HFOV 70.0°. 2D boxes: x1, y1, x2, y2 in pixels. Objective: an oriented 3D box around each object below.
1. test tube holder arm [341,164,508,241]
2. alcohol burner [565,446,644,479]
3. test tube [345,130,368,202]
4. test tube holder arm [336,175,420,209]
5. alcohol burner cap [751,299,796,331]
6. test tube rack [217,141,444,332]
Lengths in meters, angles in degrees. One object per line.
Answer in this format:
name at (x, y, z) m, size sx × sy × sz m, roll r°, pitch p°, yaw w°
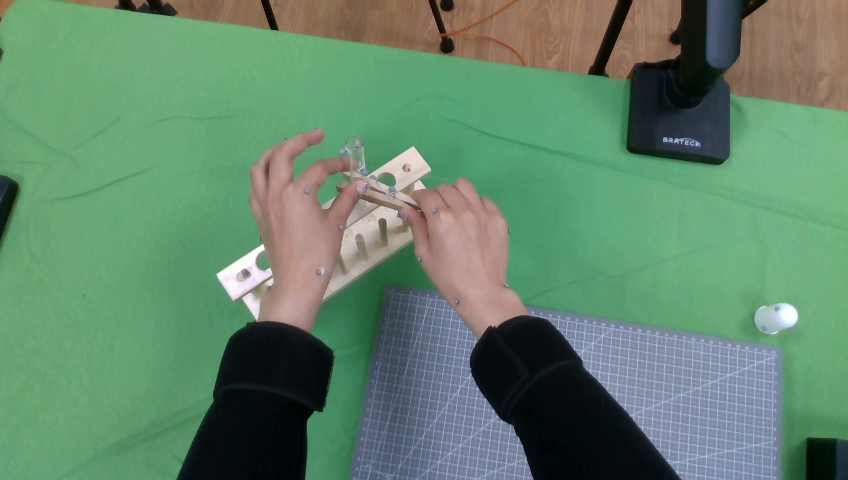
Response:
test tube holder arm at (-0.001, -0.038, 0.591) m, size 0.178 × 0.015 × 0.013 m, roll 22°, pitch 82°, yaw 12°
alcohol burner at (0.179, 0.239, 0.582) m, size 0.078 × 0.119 × 0.077 m, roll 1°, pitch 73°, yaw -2°
test tube at (-0.064, -0.064, 0.588) m, size 0.017 × 0.151 × 0.017 m, roll 1°, pitch 71°, yaw -3°
test tube holder arm at (-0.045, -0.048, 0.599) m, size 0.087 × 0.015 × 0.010 m, roll 16°, pitch 81°, yaw 11°
alcohol burner cap at (0.389, 0.082, 0.669) m, size 0.034 × 0.048 × 0.033 m, roll 0°, pitch 74°, yaw 0°
test tube rack at (-0.092, -0.001, 0.659) m, size 0.242 × 0.085 × 0.066 m, roll -34°, pitch 77°, yaw -10°
